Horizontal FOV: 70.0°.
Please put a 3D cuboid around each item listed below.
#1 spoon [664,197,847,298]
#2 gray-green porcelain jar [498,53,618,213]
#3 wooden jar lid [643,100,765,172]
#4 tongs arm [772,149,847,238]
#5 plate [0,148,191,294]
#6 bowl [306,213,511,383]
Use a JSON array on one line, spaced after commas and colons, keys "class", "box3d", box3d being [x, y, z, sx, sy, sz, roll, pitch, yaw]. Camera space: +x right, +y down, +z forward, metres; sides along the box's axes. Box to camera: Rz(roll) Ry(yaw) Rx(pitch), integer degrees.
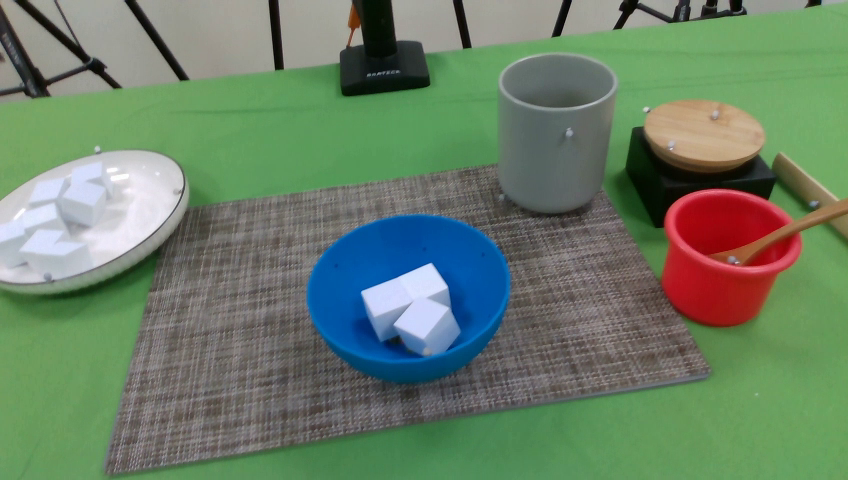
[{"class": "spoon", "box3d": [0.274, -0.003, 0.460, 0.022, 0.194, 0.041, 37, 40, -22]}, {"class": "gray-green porcelain jar", "box3d": [0.124, -0.098, 0.583, 0.106, 0.128, 0.105, -3, 43, 3]}, {"class": "wooden jar lid", "box3d": [0.266, -0.099, 0.581, 0.108, 0.021, 0.107, -3, 43, 4]}, {"class": "tongs arm", "box3d": [0.413, 0.039, 0.484, 0.028, 0.028, 0.383, -12, 44, -11]}, {"class": "plate", "box3d": [-0.339, -0.019, 0.615, 0.209, 0.038, 0.207, -3, 43, 4]}, {"class": "bowl", "box3d": [-0.009, 0.056, 0.468, 0.151, 0.077, 0.150, -3, 43, 3]}]
